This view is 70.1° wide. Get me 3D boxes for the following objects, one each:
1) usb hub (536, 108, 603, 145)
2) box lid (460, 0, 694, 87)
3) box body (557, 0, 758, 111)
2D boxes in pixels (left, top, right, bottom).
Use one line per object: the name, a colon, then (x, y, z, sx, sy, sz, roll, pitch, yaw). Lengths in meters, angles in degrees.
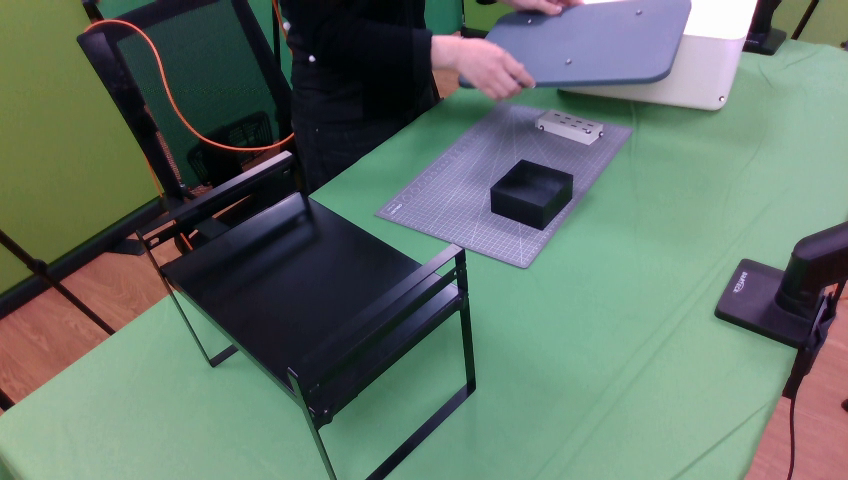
usb hub: (0.284, -0.224, 1.188, 0.124, 0.025, 0.049, 28, 52, 35)
box lid: (0.265, -0.353, 1.078, 0.369, 0.015, 0.263, 7, 49, 30)
box body: (0.480, -0.417, 1.282, 0.362, 0.161, 0.254, 15, 46, 24)
